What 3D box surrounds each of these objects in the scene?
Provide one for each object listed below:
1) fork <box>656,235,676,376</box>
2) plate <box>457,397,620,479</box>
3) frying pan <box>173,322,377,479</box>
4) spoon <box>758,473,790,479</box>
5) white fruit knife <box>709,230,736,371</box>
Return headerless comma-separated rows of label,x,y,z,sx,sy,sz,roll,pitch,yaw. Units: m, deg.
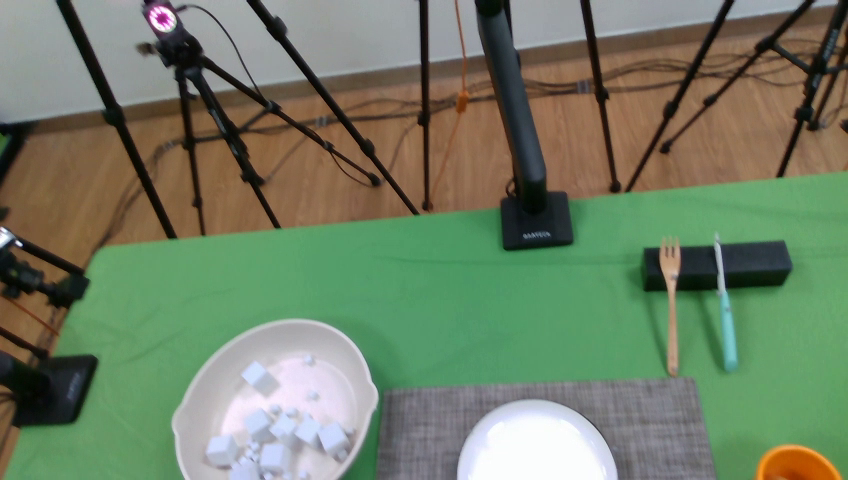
fork,0.357,0.093,0.885,0.028,0.019,0.206,2,74,6
plate,0.148,0.312,0.796,0.207,0.039,0.205,-6,54,9
frying pan,-0.211,0.338,0.821,0.306,0.104,0.483,-8,45,8
spoon,0.460,0.285,0.675,0.193,0.022,0.041,-22,43,51
white fruit knife,0.427,0.083,0.875,0.016,0.027,0.206,-2,70,10
